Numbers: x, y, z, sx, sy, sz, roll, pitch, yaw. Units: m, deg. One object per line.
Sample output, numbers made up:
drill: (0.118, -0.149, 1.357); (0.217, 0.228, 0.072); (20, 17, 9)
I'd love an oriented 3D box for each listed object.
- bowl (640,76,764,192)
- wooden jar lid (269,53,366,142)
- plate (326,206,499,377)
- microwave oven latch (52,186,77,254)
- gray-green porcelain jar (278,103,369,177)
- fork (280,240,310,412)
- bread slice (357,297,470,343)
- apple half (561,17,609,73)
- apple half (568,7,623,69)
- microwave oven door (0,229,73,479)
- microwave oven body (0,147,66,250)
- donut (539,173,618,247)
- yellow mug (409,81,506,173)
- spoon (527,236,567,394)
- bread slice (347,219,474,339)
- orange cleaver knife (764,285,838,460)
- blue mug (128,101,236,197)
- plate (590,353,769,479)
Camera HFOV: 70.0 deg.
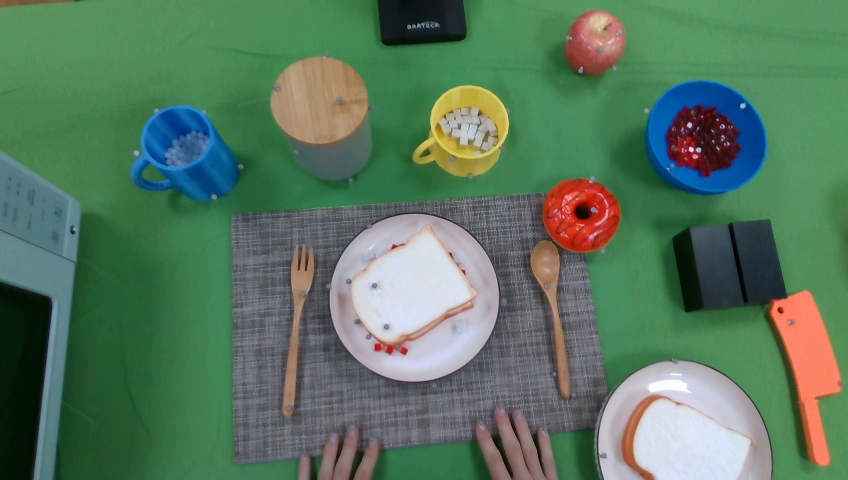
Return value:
bowl: (0.346, -0.125, 0.786); (0.151, 0.077, 0.150); (1, 77, -2)
wooden jar lid: (-0.119, -0.158, 0.685); (0.108, 0.021, 0.108); (1, 74, -1)
plate: (-0.013, 0.063, 0.741); (0.208, 0.039, 0.206); (1, 76, -2)
microwave oven latch: (-0.439, -0.023, 0.728); (0.030, 0.029, 0.079); (0, 77, -3)
gray-green porcelain jar: (-0.121, -0.142, 0.745); (0.106, 0.127, 0.105); (1, 76, -2)
fork: (-0.159, 0.101, 0.734); (0.028, 0.019, 0.206); (5, 74, -9)
bread slice: (-0.023, 0.065, 0.743); (0.131, 0.019, 0.104); (-31, 80, -11)
apple half: (0.206, -0.252, 0.812); (0.033, 0.081, 0.081); (-37, 80, -15)
apple half: (0.236, -0.275, 0.820); (0.053, 0.075, 0.080); (-36, 76, -16)
microwave oven door: (-0.431, 0.164, 0.578); (0.039, 0.245, 0.354); (-2, 76, -2)
microwave oven body: (-0.579, 0.127, 0.586); (0.326, 0.261, 0.439); (-1, 77, -3)
donut: (0.196, -0.038, 0.771); (0.099, 0.048, 0.098); (1, 77, -3)
yellow mug: (0.039, -0.138, 0.782); (0.131, 0.064, 0.099); (-28, 79, -8)
spoon: (0.157, 0.091, 0.748); (0.042, 0.021, 0.192); (0, 74, -25)
bread slice: (-0.021, 0.055, 0.716); (0.134, 0.018, 0.106); (-35, 77, -11)
orange cleaver knife: (0.477, 0.160, 0.751); (0.077, 0.012, 0.210); (-2, 75, -10)
blue mug: (-0.298, -0.100, 0.737); (0.116, 0.106, 0.082); (-29, 78, -9)
plate: (0.295, 0.239, 0.714); (0.209, 0.038, 0.208); (1, 76, -2)
